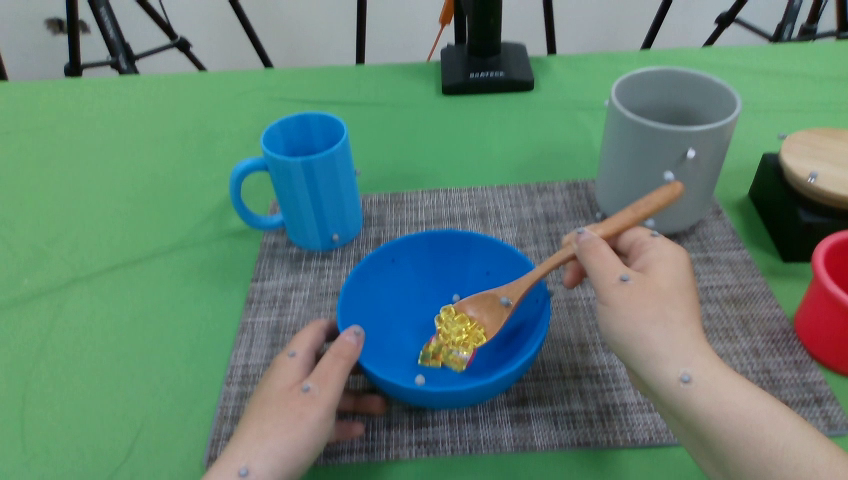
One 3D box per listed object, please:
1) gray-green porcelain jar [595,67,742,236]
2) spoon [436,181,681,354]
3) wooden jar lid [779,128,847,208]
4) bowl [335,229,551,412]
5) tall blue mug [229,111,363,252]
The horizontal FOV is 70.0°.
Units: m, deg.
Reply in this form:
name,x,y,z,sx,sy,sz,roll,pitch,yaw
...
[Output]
name,x,y,z,sx,sy,sz,roll,pitch,yaw
gray-green porcelain jar,0.214,-0.075,0.550,0.106,0.128,0.105,-2,43,2
spoon,0.088,0.020,0.411,0.194,0.022,0.041,-38,47,19
wooden jar lid,0.372,-0.063,0.535,0.108,0.021,0.107,-3,43,3
bowl,0.015,0.070,0.446,0.151,0.077,0.150,-2,43,2
tall blue mug,-0.113,-0.045,0.557,0.077,0.109,0.107,33,54,32
